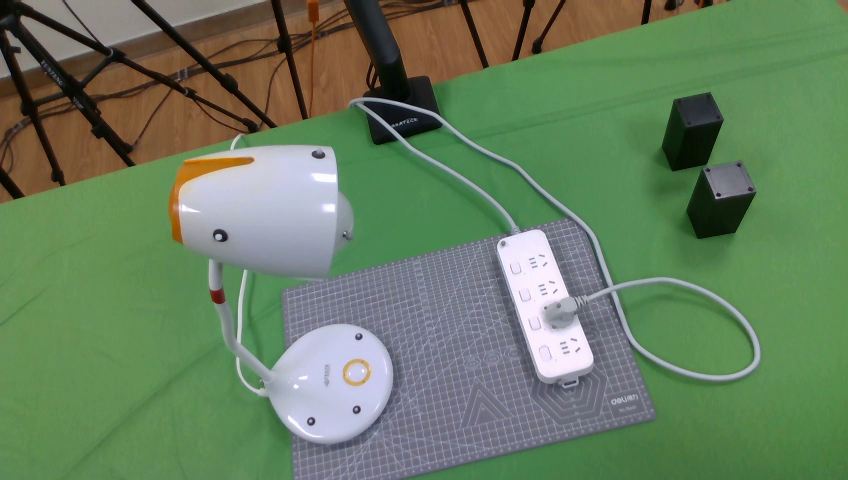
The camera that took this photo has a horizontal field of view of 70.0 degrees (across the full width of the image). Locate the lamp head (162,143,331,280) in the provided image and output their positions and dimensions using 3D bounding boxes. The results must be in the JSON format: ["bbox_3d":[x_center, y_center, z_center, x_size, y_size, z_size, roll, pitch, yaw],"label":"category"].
[{"bbox_3d":[-0.140,-0.022,0.480,0.123,0.113,0.111,-1,58,-16],"label":"lamp head"}]

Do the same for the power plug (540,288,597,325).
[{"bbox_3d":[0.184,0.089,0.768,0.072,0.053,0.035,-6,62,4],"label":"power plug"}]

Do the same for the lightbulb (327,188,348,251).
[{"bbox_3d":[-0.114,-0.021,0.481,0.108,0.060,0.059,9,59,-17],"label":"lightbulb"}]

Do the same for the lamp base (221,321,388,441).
[{"bbox_3d":[-0.150,0.150,0.731,0.179,0.182,0.159,-19,59,3],"label":"lamp base"}]

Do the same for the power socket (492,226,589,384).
[{"bbox_3d":[0.150,0.079,0.801,0.072,0.033,0.224,-16,59,0],"label":"power socket"}]
